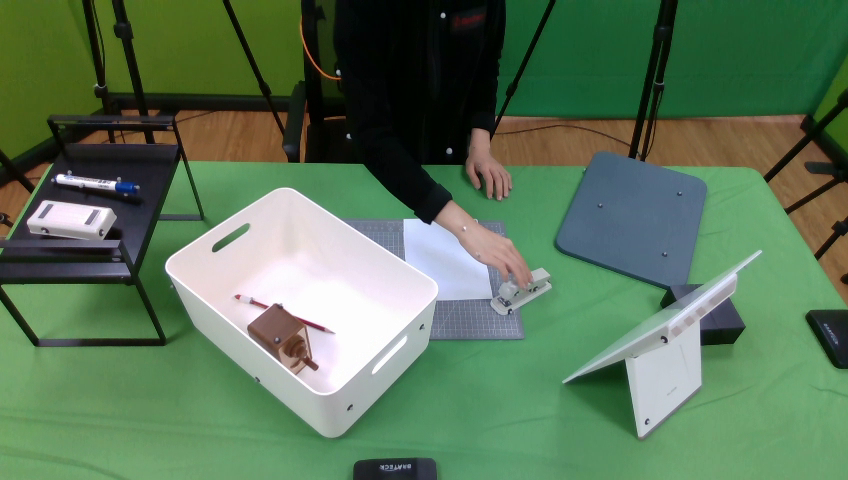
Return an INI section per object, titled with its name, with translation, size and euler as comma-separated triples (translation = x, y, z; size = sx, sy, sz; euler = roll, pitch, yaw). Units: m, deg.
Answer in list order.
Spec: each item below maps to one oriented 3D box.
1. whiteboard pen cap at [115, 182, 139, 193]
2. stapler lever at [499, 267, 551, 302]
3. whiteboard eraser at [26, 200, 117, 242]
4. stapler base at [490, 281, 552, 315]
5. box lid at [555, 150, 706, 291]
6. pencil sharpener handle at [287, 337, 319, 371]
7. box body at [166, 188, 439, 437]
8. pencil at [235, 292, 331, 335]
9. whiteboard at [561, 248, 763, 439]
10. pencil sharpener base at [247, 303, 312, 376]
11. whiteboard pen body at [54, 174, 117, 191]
[whiteboard pen cap]
translation = -0.483, -0.086, 0.984
size = 0.033, 0.018, 0.018
euler = 7, 46, 10
[stapler lever]
translation = 0.185, 0.076, 1.101
size = 0.118, 0.040, 0.026
euler = -25, 57, -29
[whiteboard eraser]
translation = -0.532, -0.026, 0.919
size = 0.113, 0.042, 0.055
euler = 7, 45, 3
[stapler base]
translation = 0.181, 0.094, 1.118
size = 0.130, 0.024, 0.041
euler = -24, 57, -29
[box lid]
translation = 0.451, -0.059, 1.297
size = 0.263, 0.015, 0.370
euler = 20, 49, 14
[pencil sharpener handle]
translation = -0.182, 0.179, 0.928
size = 0.030, 0.068, 0.036
euler = 32, 66, 23
[box body]
translation = -0.190, 0.108, 0.980
size = 0.362, 0.161, 0.254
euler = 32, 52, 24
[pencil]
translation = -0.244, 0.130, 1.054
size = 0.194, 0.012, 0.012
euler = 21, 49, 11
[whiteboard]
translation = 0.386, 0.176, 0.905
size = 0.217, 0.306, 0.143
euler = -26, 72, -27
[pencil sharpener base]
translation = -0.224, 0.165, 0.955
size = 0.076, 0.107, 0.061
euler = 32, 54, 23
[whiteboard pen body]
translation = -0.541, -0.093, 0.993
size = 0.140, 0.017, 0.017
euler = 7, 46, 9
